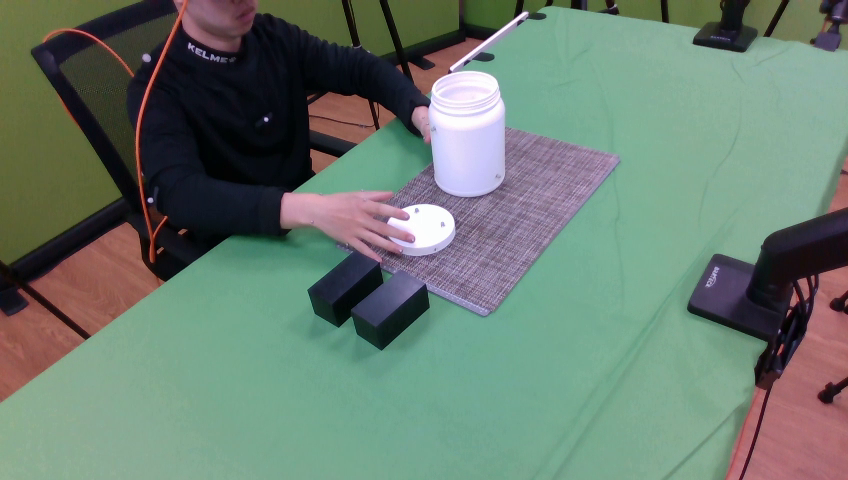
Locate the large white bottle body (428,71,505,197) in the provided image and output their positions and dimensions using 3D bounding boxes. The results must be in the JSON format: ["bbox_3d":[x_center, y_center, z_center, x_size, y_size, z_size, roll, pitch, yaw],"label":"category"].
[{"bbox_3d":[0.075,-0.181,1.038,0.130,0.185,0.130,-3,41,3],"label":"large white bottle body"}]

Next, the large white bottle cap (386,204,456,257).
[{"bbox_3d":[-0.005,-0.017,0.988,0.115,0.018,0.114,-5,42,5],"label":"large white bottle cap"}]
